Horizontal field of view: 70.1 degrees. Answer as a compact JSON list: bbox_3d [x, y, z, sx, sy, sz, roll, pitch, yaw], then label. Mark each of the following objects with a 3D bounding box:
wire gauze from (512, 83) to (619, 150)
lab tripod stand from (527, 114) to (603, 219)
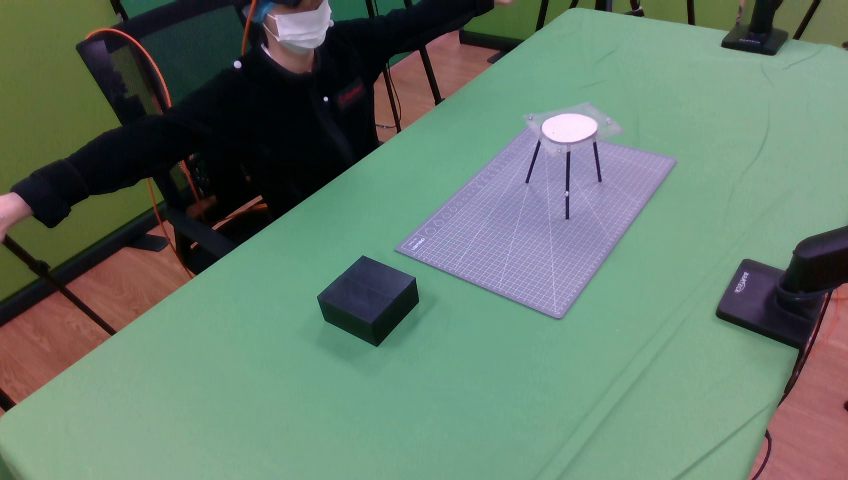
[{"bbox_3d":[0.221,-0.193,0.950,0.125,0.011,0.120,-34,50,-17],"label":"wire gauze"},{"bbox_3d":[0.235,-0.129,1.002,0.148,0.132,0.147,-6,40,6],"label":"lab tripod stand"}]
